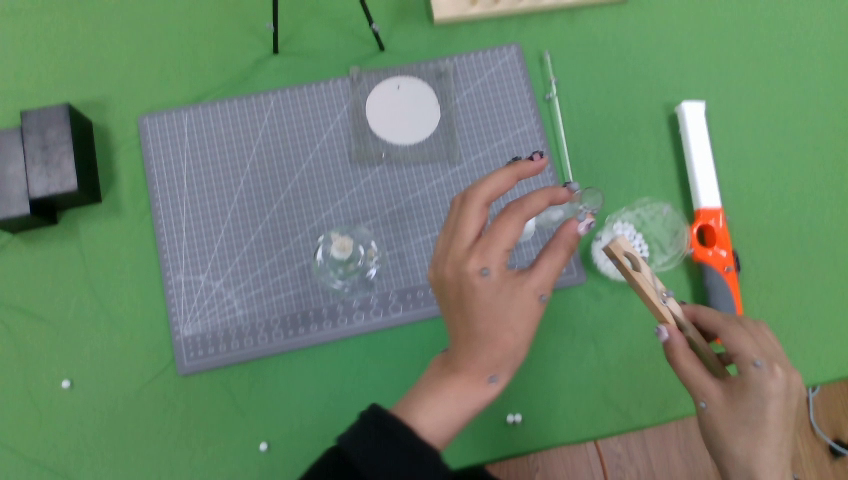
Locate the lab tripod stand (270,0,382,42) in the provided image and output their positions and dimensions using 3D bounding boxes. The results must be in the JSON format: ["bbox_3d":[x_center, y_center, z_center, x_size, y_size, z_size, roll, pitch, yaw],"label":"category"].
[{"bbox_3d":[-0.114,-0.281,0.654,0.148,0.132,0.148,0,81,-2],"label":"lab tripod stand"}]

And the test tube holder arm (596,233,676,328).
[{"bbox_3d":[0.164,0.032,0.464,0.010,0.015,0.088,-40,90,-9],"label":"test tube holder arm"}]

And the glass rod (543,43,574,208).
[{"bbox_3d":[0.155,-0.133,0.700,0.008,0.008,0.199,-7,82,-4],"label":"glass rod"}]

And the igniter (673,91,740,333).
[{"bbox_3d":[0.316,-0.035,0.680,0.057,0.025,0.275,-2,80,-13],"label":"igniter"}]

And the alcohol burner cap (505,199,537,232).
[{"bbox_3d":[0.108,-0.029,0.660,0.034,0.048,0.033,0,79,-2],"label":"alcohol burner cap"}]

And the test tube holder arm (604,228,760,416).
[{"bbox_3d":[0.198,0.063,0.465,0.013,0.015,0.178,-40,90,-9],"label":"test tube holder arm"}]

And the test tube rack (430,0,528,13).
[{"bbox_3d":[0.125,-0.330,0.696,0.242,0.085,0.066,-9,80,-4],"label":"test tube rack"}]

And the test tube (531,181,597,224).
[{"bbox_3d":[0.098,-0.025,0.440,0.017,0.150,0.017,0,87,0],"label":"test tube"}]

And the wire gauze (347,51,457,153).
[{"bbox_3d":[-0.026,-0.159,0.696,0.125,0.011,0.121,-1,81,-3],"label":"wire gauze"}]

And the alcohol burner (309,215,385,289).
[{"bbox_3d":[-0.080,0.009,0.610,0.078,0.119,0.077,0,78,0],"label":"alcohol burner"}]

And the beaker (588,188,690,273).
[{"bbox_3d":[0.216,-0.007,0.634,0.084,0.100,0.074,19,79,3],"label":"beaker"}]
